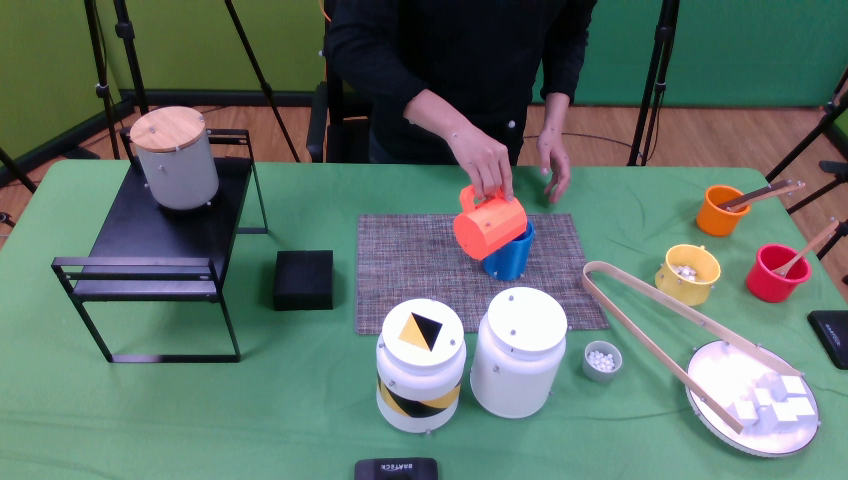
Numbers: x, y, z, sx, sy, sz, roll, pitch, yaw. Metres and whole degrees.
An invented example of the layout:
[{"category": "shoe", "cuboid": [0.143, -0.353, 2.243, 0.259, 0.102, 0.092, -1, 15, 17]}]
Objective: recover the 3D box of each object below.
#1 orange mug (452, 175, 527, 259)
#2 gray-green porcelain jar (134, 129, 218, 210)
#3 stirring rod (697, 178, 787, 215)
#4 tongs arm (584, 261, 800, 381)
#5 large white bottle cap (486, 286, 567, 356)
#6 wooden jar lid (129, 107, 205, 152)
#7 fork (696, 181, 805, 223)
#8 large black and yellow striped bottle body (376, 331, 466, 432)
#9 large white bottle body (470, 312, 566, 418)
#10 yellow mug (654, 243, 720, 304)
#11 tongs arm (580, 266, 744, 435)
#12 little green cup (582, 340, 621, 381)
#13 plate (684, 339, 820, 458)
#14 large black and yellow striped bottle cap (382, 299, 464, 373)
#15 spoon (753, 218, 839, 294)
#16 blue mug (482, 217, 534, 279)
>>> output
[{"category": "orange mug", "cuboid": [0.107, -0.043, 1.031, 0.101, 0.126, 0.083, -27, 21, -28]}, {"category": "gray-green porcelain jar", "cuboid": [-0.388, -0.120, 0.960, 0.106, 0.127, 0.105, 2, 46, -2]}, {"category": "stirring rod", "cuboid": [0.650, -0.088, 1.246, 0.006, 0.176, 0.014, 29, 50, -39]}, {"category": "tongs arm", "cuboid": [0.452, 0.137, 1.063, 0.051, 0.027, 0.382, -34, 50, -27]}, {"category": "large white bottle cap", "cuboid": [0.147, 0.114, 0.869, 0.115, 0.018, 0.114, 3, 46, -3]}, {"category": "wooden jar lid", "cuboid": [-0.385, -0.163, 0.915, 0.108, 0.021, 0.107, 2, 47, -2]}, {"category": "fork", "cuboid": [0.659, -0.077, 1.232, 0.207, 0.019, 0.028, -26, 35, 34]}, {"category": "large black and yellow striped bottle body", "cuboid": [-0.007, 0.189, 0.905, 0.131, 0.185, 0.130, 2, 46, -2]}, {"category": "large white bottle body", "cuboid": [0.143, 0.174, 0.930, 0.131, 0.185, 0.130, 2, 46, -2]}, {"category": "yellow mug", "cuboid": [0.504, 0.054, 1.154, 0.099, 0.064, 0.130, 28, 50, 22]}, {"category": "tongs arm", "cuboid": [0.384, 0.173, 1.028, 0.028, 0.028, 0.385, -25, 46, -15]}, {"category": "little green cup", "cuboid": [0.295, 0.204, 1.014, 0.061, 0.039, 0.061, 2, 45, -2]}, {"category": "plate", "cuboid": [0.523, 0.256, 0.982, 0.208, 0.039, 0.206, 2, 46, -2]}, {"category": "large black and yellow striped bottle cap", "cuboid": [-0.002, 0.132, 0.843, 0.115, 0.019, 0.114, 2, 46, -2]}, {"category": "spoon", "cuboid": [0.700, 0.031, 1.138, 0.194, 0.022, 0.041, -47, 55, 14]}, {"category": "blue mug", "cuboid": [0.141, 0.005, 1.140, 0.116, 0.106, 0.082, 18, 48, 13]}]
